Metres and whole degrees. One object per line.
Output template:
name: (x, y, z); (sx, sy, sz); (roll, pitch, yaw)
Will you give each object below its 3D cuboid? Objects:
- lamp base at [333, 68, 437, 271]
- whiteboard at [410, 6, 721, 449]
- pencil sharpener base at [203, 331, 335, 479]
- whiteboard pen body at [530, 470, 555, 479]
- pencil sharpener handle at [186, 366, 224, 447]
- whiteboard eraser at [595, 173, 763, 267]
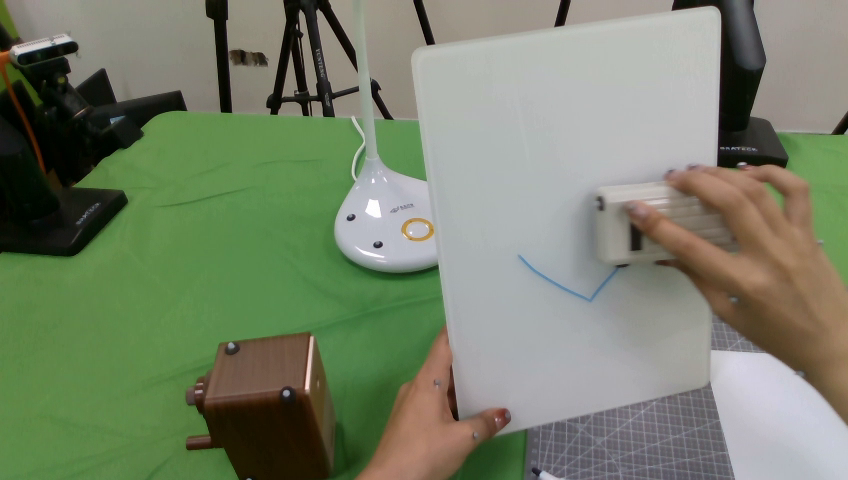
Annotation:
lamp base: (-0.037, -0.084, 0.660); (0.161, 0.182, 0.177); (-27, 42, -27)
whiteboard: (0.105, -0.017, 0.508); (0.217, 0.307, 0.143); (-10, 20, -7)
pencil sharpener base: (-0.114, 0.128, 0.456); (0.077, 0.108, 0.060); (-6, 39, -1)
whiteboard pen body: (0.134, 0.196, 0.417); (0.139, 0.017, 0.017); (22, 45, 34)
pencil sharpener handle: (-0.165, 0.125, 0.444); (0.030, 0.068, 0.035); (-6, 26, -1)
whiteboard eraser: (0.179, -0.015, 0.432); (0.113, 0.056, 0.041); (-6, 18, -3)
